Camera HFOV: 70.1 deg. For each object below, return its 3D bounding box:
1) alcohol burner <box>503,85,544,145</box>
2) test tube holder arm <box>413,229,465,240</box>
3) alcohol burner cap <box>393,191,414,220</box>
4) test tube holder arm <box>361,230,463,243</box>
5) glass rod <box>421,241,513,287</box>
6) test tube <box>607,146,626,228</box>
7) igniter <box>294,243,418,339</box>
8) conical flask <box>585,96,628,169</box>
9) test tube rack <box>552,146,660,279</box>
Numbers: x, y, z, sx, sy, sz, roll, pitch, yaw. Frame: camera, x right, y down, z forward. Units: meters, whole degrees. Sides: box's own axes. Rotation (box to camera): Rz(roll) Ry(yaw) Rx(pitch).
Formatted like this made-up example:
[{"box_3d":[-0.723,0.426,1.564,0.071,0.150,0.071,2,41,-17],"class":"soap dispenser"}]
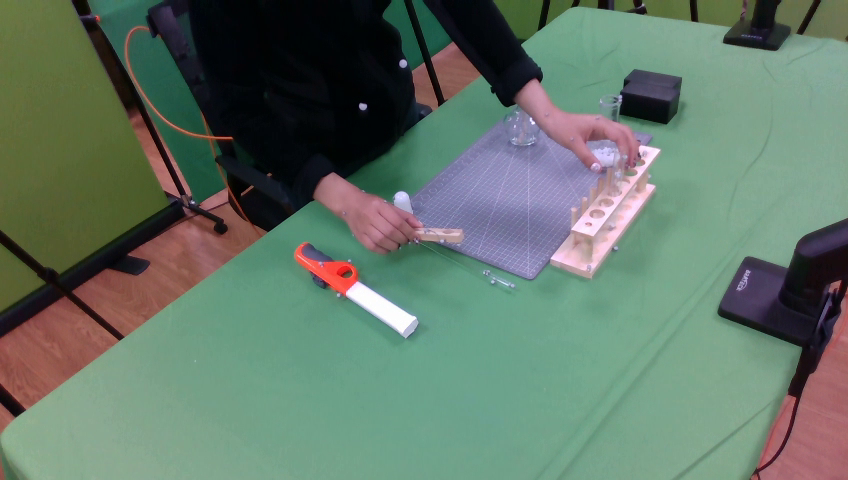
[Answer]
[{"box_3d":[0.191,-0.243,1.160,0.078,0.119,0.077,-4,40,4],"class":"alcohol burner"},{"box_3d":[0.020,-0.008,0.901,0.087,0.015,0.010,2,27,30],"class":"test tube holder arm"},{"box_3d":[-0.037,-0.061,1.044,0.034,0.048,0.033,-6,40,5],"class":"alcohol burner cap"},{"box_3d":[-0.022,-0.006,0.918,0.177,0.015,0.013,1,27,28],"class":"test tube holder arm"},{"box_3d":[0.059,0.032,0.944,0.198,0.008,0.008,27,53,38],"class":"glass rod"},{"box_3d":[0.283,-0.074,0.891,0.017,0.151,0.017,-5,45,6],"class":"test tube"},{"box_3d":[-0.114,0.070,0.919,0.274,0.025,0.057,29,63,37],"class":"igniter"},{"box_3d":[0.324,-0.192,1.066,0.075,0.122,0.075,-6,40,5],"class":"conical flask"},{"box_3d":[0.286,-0.053,0.943,0.066,0.085,0.243,21,49,32],"class":"test tube rack"}]
